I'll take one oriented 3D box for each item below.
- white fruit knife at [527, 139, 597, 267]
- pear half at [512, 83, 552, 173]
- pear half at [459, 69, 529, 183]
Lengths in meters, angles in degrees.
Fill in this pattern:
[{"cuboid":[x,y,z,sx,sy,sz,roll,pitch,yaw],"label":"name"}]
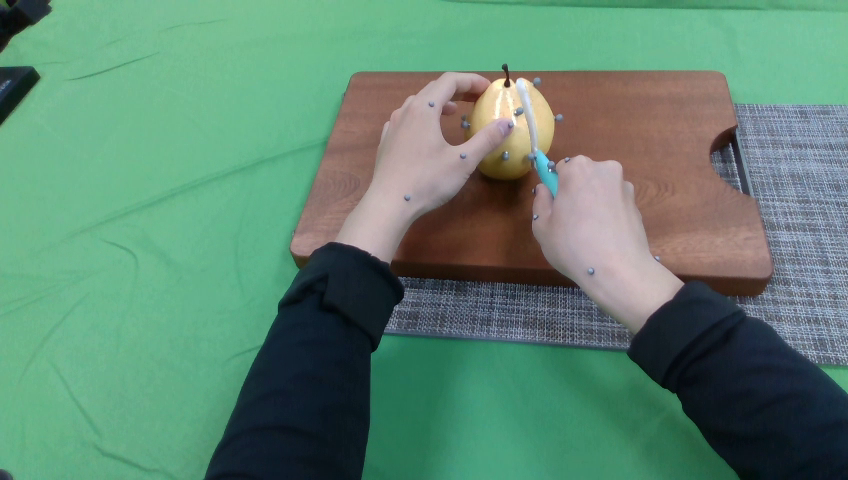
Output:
[{"cuboid":[0.098,-0.062,0.520,0.016,0.028,0.205,-13,50,-9],"label":"white fruit knife"},{"cuboid":[0.097,-0.104,0.545,0.031,0.089,0.069,-17,48,-12],"label":"pear half"},{"cuboid":[0.059,-0.101,0.534,0.056,0.111,0.075,-19,47,-8],"label":"pear half"}]
